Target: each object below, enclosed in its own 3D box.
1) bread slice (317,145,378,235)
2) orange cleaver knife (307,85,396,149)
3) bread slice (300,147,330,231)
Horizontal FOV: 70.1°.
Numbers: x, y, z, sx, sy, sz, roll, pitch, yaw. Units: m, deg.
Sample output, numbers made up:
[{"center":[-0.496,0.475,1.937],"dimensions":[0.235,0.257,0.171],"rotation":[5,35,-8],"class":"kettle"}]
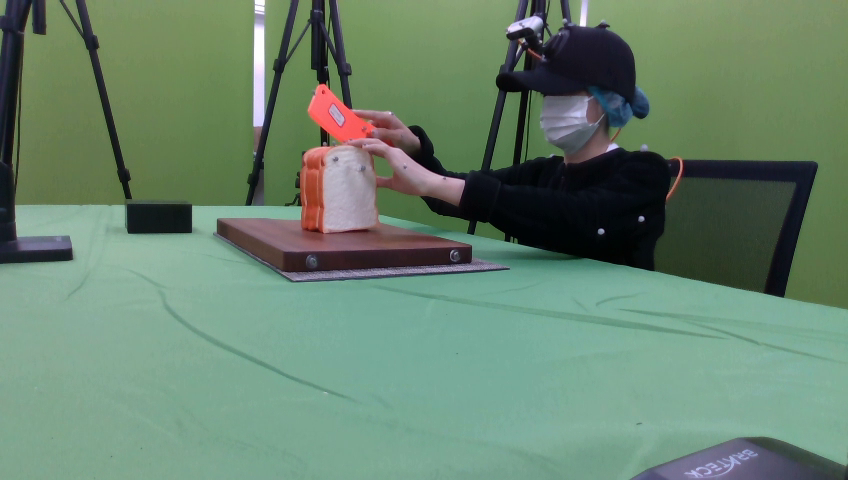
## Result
[{"center":[-0.120,-0.077,0.925],"dimensions":[0.107,0.134,0.018],"rotation":[-12,14,-43],"class":"bread slice"},{"center":[-0.115,-0.184,1.010],"dimensions":[0.012,0.077,0.212],"rotation":[-6,-20,34],"class":"orange cleaver knife"},{"center":[-0.151,-0.082,0.964],"dimensions":[0.105,0.131,0.019],"rotation":[-3,4,-40],"class":"bread slice"}]
